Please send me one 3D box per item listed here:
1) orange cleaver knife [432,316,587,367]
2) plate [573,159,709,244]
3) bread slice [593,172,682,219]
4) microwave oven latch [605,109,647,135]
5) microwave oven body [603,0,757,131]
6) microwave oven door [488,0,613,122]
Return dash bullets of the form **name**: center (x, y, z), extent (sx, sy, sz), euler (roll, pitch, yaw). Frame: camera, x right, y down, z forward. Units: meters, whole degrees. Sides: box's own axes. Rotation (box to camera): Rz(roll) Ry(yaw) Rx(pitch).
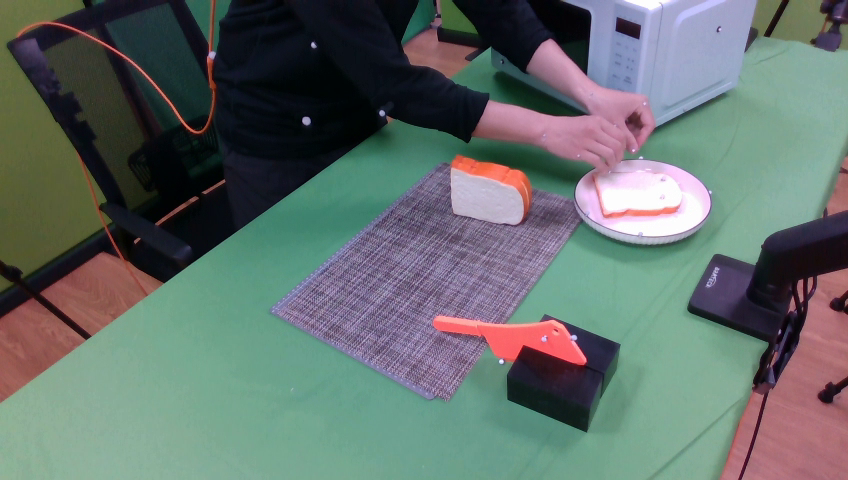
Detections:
- **orange cleaver knife**: center (0.101, 0.127, 0.761), extent (0.210, 0.077, 0.012), euler (-1, 34, 40)
- **plate**: center (0.347, -0.059, 0.978), extent (0.207, 0.039, 0.206), euler (-4, 41, 4)
- **bread slice**: center (0.351, -0.076, 0.995), extent (0.134, 0.018, 0.106), euler (-4, 44, 1)
- **microwave oven latch**: center (0.378, -0.225, 1.139), extent (0.030, 0.029, 0.078), euler (-26, 43, -19)
- **microwave oven body**: center (0.396, -0.448, 1.248), extent (0.327, 0.261, 0.437), euler (-27, 44, -21)
- **microwave oven door**: center (0.251, -0.413, 1.219), extent (0.039, 0.245, 0.352), euler (-27, 44, -21)
